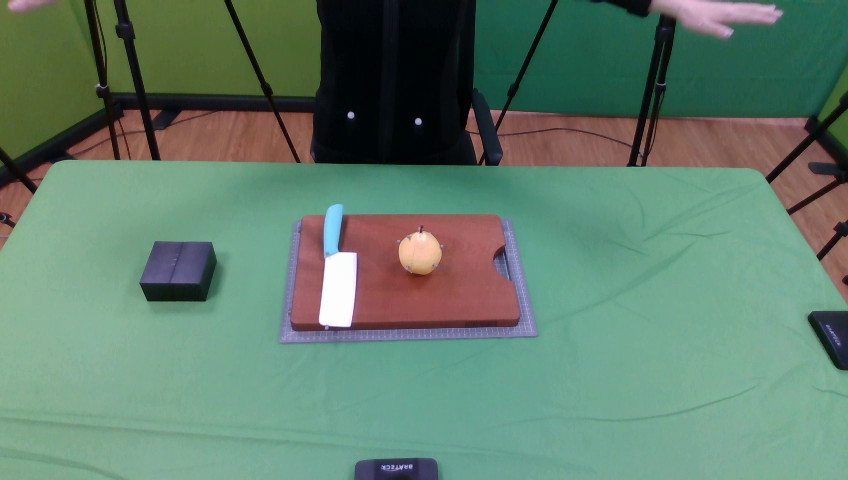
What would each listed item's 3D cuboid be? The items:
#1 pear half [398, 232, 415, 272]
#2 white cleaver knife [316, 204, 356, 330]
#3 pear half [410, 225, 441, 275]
[{"bbox_3d":[-0.031,0.017,1.092,0.031,0.088,0.070,1,51,-2],"label":"pear half"},{"bbox_3d":[-0.158,0.043,1.111,0.066,0.021,0.284,3,51,-9],"label":"white cleaver knife"},{"bbox_3d":[0.004,0.013,1.085,0.056,0.110,0.076,1,51,-3],"label":"pear half"}]
